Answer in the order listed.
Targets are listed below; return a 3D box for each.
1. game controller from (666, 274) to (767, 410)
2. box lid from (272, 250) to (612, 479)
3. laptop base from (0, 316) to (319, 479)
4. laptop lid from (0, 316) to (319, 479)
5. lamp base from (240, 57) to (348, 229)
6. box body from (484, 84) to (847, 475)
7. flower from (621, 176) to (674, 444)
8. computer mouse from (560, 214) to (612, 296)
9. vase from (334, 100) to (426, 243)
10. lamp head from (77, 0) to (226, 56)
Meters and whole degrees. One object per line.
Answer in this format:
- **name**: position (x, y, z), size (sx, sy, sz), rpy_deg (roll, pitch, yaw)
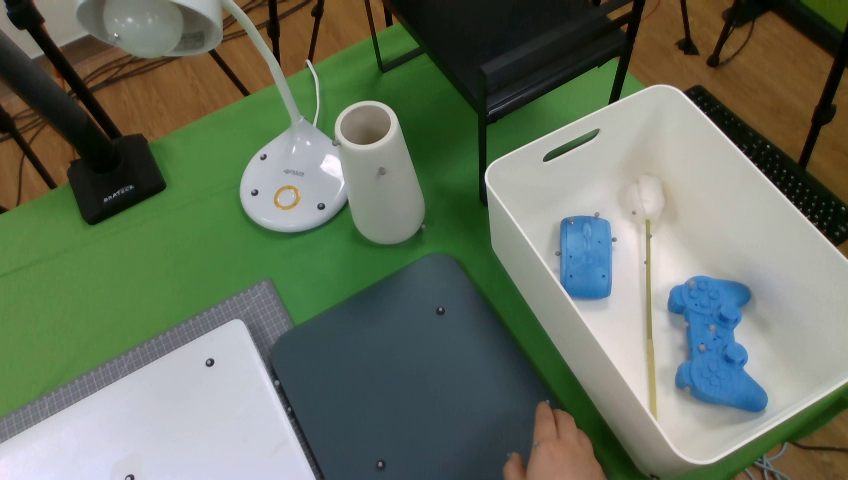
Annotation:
- **game controller**: position (0.329, 0.108, 0.683), size (0.097, 0.052, 0.154), rpy_deg (2, 60, 8)
- **box lid**: position (0.007, 0.197, 0.688), size (0.263, 0.015, 0.368), rpy_deg (-29, 63, -12)
- **laptop base**: position (-0.319, 0.262, 0.677), size (0.354, 0.023, 0.233), rpy_deg (-29, 66, -11)
- **laptop lid**: position (-0.318, 0.258, 0.666), size (0.357, 0.013, 0.239), rpy_deg (-27, 65, -10)
- **lamp base**: position (-0.185, -0.133, 0.793), size (0.160, 0.182, 0.177), rpy_deg (1, 58, 6)
- **box body**: position (0.257, 0.039, 0.667), size (0.254, 0.162, 0.360), rpy_deg (-26, 62, -9)
- **flower**: position (0.272, 0.079, 0.716), size (0.044, 0.038, 0.358), rpy_deg (-13, 56, 28)
- **computer mouse**: position (0.200, 0.014, 0.750), size (0.062, 0.041, 0.116), rpy_deg (4, 57, 11)
- **vase**: position (-0.054, -0.079, 0.740), size (0.098, 0.202, 0.097), rpy_deg (-3, 60, 6)
- **lamp head**: position (-0.221, -0.229, 0.505), size (0.112, 0.113, 0.122), rpy_deg (-2, 78, 4)
